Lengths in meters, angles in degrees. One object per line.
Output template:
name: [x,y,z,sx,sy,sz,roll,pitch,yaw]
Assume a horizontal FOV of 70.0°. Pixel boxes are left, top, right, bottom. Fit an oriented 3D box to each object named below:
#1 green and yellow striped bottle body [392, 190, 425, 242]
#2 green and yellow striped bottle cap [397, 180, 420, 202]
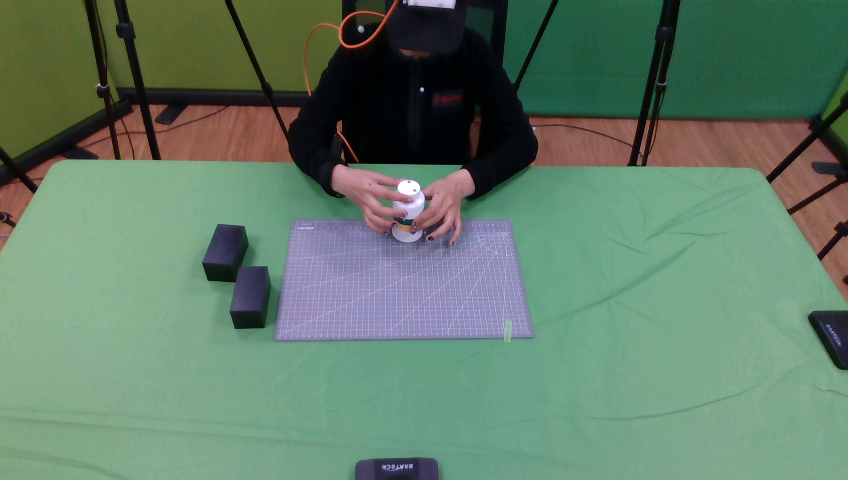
green and yellow striped bottle body: [-0.030,-0.058,1.178,0.063,0.120,0.063,2,46,-2]
green and yellow striped bottle cap: [-0.029,-0.094,1.140,0.045,0.020,0.045,3,45,-2]
